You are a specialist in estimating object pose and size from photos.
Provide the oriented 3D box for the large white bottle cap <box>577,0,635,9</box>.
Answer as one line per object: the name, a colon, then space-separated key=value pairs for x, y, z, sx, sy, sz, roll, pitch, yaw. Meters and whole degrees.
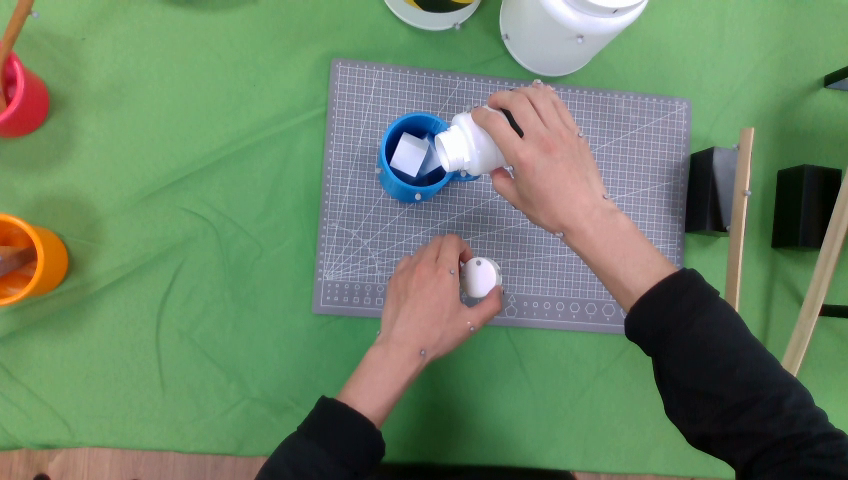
large white bottle cap: x=0.172 y=-0.278 z=0.574 sx=0.115 sy=0.018 sz=0.114 roll=0 pitch=88 yaw=-8

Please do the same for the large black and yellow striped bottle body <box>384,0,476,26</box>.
large black and yellow striped bottle body: x=0.015 y=-0.323 z=0.640 sx=0.131 sy=0.184 sz=0.130 roll=0 pitch=88 yaw=-7

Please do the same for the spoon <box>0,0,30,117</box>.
spoon: x=-0.418 y=-0.184 z=0.600 sx=0.041 sy=0.021 sz=0.194 roll=51 pitch=127 yaw=0

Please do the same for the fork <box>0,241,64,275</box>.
fork: x=-0.460 y=-0.004 z=0.587 sx=0.209 sy=0.018 sz=0.028 roll=28 pitch=81 yaw=-49

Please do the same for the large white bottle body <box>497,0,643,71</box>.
large white bottle body: x=0.162 y=-0.274 z=0.657 sx=0.131 sy=0.184 sz=0.130 roll=0 pitch=88 yaw=-7

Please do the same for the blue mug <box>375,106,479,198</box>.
blue mug: x=0.004 y=-0.090 z=0.669 sx=0.117 sy=0.106 sz=0.082 roll=12 pitch=86 yaw=-7

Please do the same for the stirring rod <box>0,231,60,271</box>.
stirring rod: x=-0.441 y=0.036 z=0.594 sx=0.014 sy=0.006 sz=0.175 roll=52 pitch=41 yaw=-6

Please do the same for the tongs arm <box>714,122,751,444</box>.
tongs arm: x=0.376 y=0.058 z=0.716 sx=0.051 sy=0.026 sz=0.385 roll=0 pitch=100 yaw=-10

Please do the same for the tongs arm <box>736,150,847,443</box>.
tongs arm: x=0.457 y=0.064 z=0.729 sx=0.028 sy=0.027 sz=0.388 roll=13 pitch=98 yaw=-15

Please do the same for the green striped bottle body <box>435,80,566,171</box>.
green striped bottle body: x=0.072 y=-0.108 z=0.591 sx=0.119 sy=0.063 sz=0.063 roll=-21 pitch=90 yaw=-9

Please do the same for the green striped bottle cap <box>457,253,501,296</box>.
green striped bottle cap: x=0.058 y=0.036 z=0.636 sx=0.044 sy=0.020 sz=0.044 roll=-7 pitch=74 yaw=24
